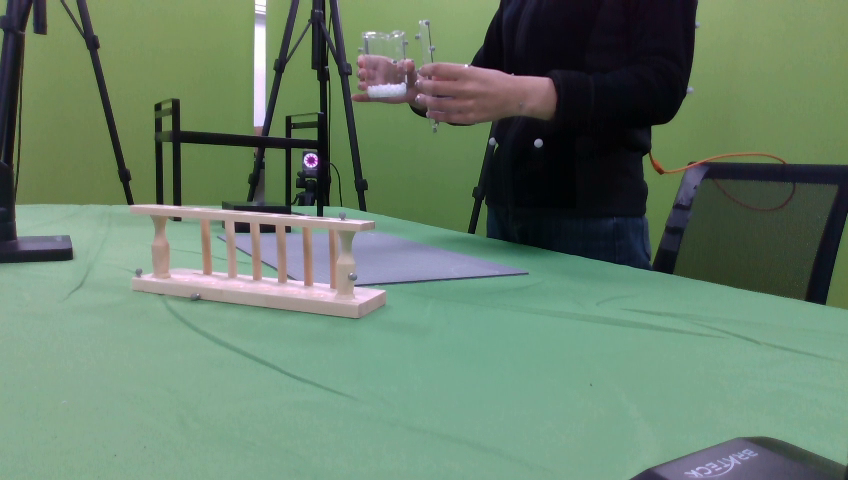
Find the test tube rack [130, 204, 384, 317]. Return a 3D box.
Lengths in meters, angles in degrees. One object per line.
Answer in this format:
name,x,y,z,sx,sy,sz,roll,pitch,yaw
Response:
test tube rack,-0.163,0.013,0.589,0.242,0.085,0.067,5,8,17

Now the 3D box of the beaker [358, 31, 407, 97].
beaker,-0.065,-0.287,0.989,0.074,0.100,0.083,-7,14,-15

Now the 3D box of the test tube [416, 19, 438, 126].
test tube,0.005,-0.242,0.880,0.017,0.150,0.017,-7,12,2
